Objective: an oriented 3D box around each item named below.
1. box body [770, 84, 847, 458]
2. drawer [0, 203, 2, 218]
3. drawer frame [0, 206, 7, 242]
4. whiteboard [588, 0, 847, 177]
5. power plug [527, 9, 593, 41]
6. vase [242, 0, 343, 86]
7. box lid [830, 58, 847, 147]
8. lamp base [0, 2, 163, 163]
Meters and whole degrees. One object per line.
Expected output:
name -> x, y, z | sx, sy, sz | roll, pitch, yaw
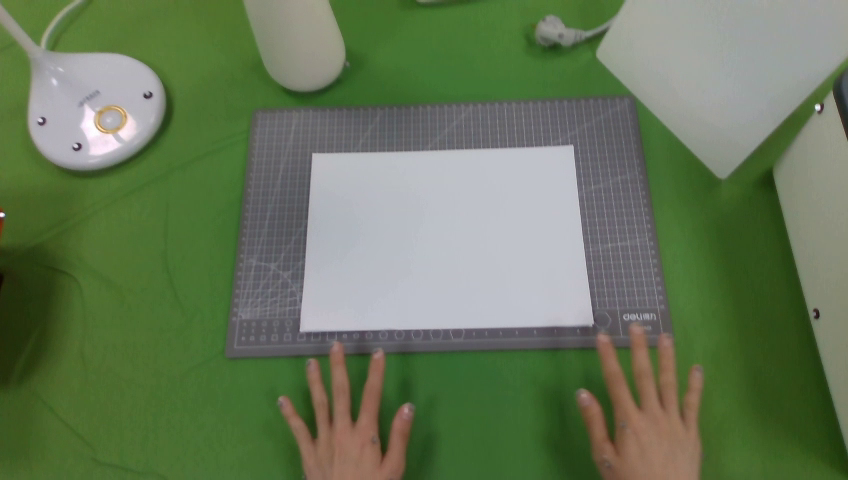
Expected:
box body -> 0.493, 0.030, 0.535 | 0.254, 0.161, 0.361 | -3, 69, 1
drawer -> -0.536, 0.044, 0.568 | 0.212, 0.074, 0.193 | -3, 70, 1
drawer frame -> -0.542, 0.047, 0.571 | 0.213, 0.083, 0.200 | -3, 70, 0
whiteboard -> 0.349, -0.255, 0.608 | 0.144, 0.307, 0.215 | -25, 68, -28
power plug -> 0.161, -0.258, 0.740 | 0.073, 0.035, 0.052 | 3, 33, -38
vase -> -0.151, -0.257, 0.654 | 0.098, 0.201, 0.097 | -1, 68, 4
box lid -> 0.490, 0.000, 0.467 | 0.263, 0.015, 0.368 | -3, 69, 2
lamp base -> -0.404, -0.197, 0.651 | 0.178, 0.181, 0.160 | 30, 72, 16
